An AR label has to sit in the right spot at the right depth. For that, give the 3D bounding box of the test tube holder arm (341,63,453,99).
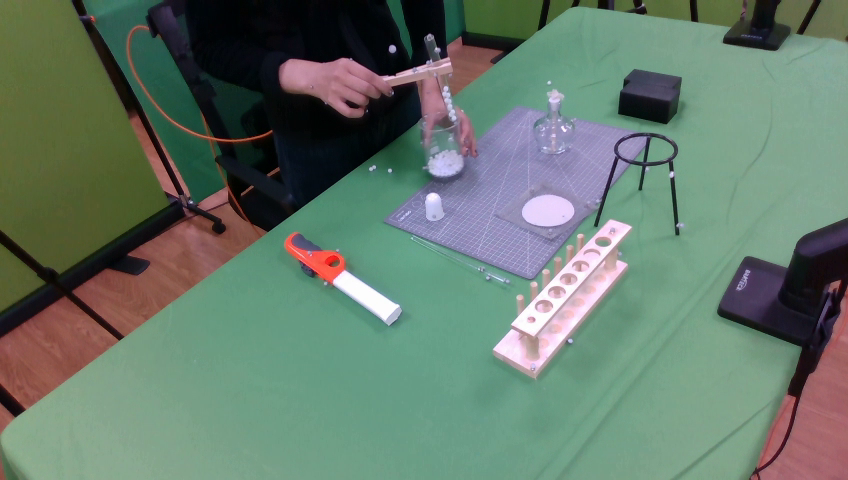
[{"bbox_3d":[-0.043,-0.248,0.940,0.178,0.015,0.013,-12,40,7],"label":"test tube holder arm"}]

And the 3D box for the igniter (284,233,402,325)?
[{"bbox_3d":[-0.136,0.054,0.942,0.274,0.025,0.057,30,63,37],"label":"igniter"}]

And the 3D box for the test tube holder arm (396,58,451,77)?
[{"bbox_3d":[0.000,-0.262,0.940,0.088,0.015,0.010,-17,40,2],"label":"test tube holder arm"}]

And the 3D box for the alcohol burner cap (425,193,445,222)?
[{"bbox_3d":[0.017,-0.058,1.029,0.034,0.048,0.033,-5,40,5],"label":"alcohol burner cap"}]

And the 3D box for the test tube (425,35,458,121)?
[{"bbox_3d":[0.029,-0.250,0.949,0.017,0.151,0.017,-12,43,12],"label":"test tube"}]

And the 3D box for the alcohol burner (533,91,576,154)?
[{"bbox_3d":[0.243,-0.222,1.124,0.078,0.119,0.077,-4,39,4],"label":"alcohol burner"}]

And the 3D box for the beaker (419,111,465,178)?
[{"bbox_3d":[0.036,-0.170,1.080,0.073,0.101,0.084,27,50,38],"label":"beaker"}]

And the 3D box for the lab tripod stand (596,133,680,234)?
[{"bbox_3d":[0.338,-0.091,0.940,0.148,0.132,0.147,-7,39,6],"label":"lab tripod stand"}]

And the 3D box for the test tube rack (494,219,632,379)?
[{"bbox_3d":[0.191,0.068,0.818,0.066,0.085,0.243,25,51,35],"label":"test tube rack"}]

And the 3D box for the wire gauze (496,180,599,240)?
[{"bbox_3d":[0.206,-0.050,1.012,0.125,0.011,0.120,-34,45,-26],"label":"wire gauze"}]

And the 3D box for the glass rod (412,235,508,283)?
[{"bbox_3d":[0.051,0.028,0.951,0.198,0.008,0.008,25,51,37],"label":"glass rod"}]
